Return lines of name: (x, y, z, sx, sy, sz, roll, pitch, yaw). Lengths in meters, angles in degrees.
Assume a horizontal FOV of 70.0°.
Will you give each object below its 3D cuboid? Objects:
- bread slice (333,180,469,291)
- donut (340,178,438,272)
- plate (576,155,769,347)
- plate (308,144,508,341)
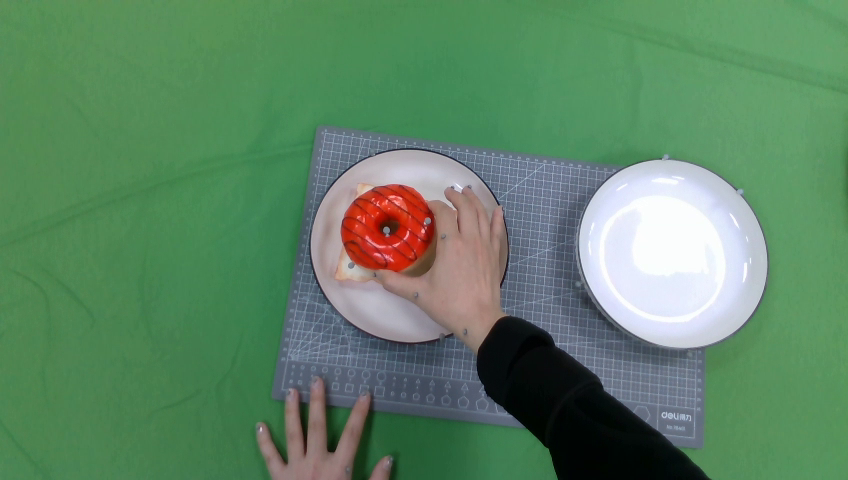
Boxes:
bread slice: (-0.020, -0.001, 0.640, 0.134, 0.018, 0.106, 10, 79, -3)
donut: (-0.035, -0.016, 0.604, 0.099, 0.048, 0.098, -4, 67, 10)
plate: (0.264, 0.013, 0.657, 0.208, 0.039, 0.206, 1, 78, -4)
plate: (-0.016, 0.003, 0.638, 0.209, 0.038, 0.208, 1, 78, -5)
